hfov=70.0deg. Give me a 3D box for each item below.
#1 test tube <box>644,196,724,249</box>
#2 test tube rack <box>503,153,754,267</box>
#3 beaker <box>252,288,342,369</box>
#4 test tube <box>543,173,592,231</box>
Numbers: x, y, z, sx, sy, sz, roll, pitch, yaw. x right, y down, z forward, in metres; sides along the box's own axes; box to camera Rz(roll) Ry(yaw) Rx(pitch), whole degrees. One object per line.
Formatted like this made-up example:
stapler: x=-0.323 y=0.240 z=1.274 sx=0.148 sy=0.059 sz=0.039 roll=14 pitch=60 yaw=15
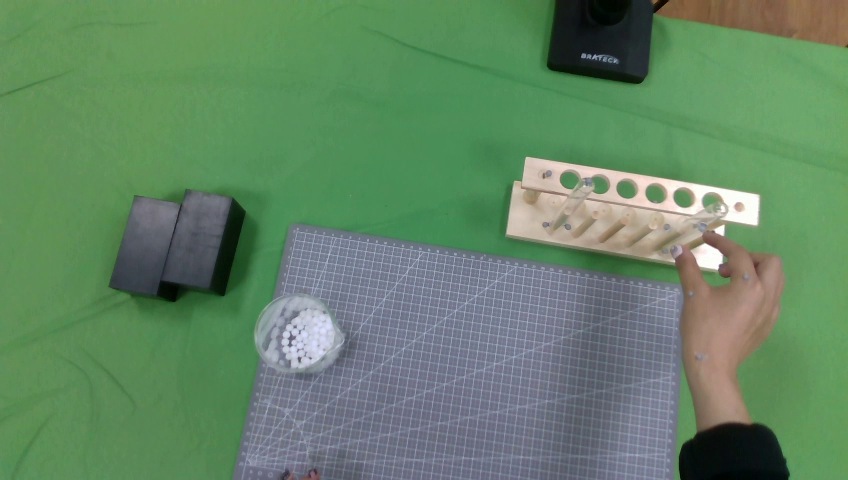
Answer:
test tube: x=0.259 y=-0.015 z=0.612 sx=0.017 sy=0.151 sz=0.017 roll=1 pitch=75 yaw=-3
test tube rack: x=0.216 y=-0.030 z=0.660 sx=0.242 sy=0.085 sz=0.066 roll=9 pitch=76 yaw=1
beaker: x=-0.119 y=0.093 z=0.610 sx=0.084 sy=0.100 sz=0.073 roll=9 pitch=76 yaw=0
test tube: x=0.143 y=-0.036 z=0.613 sx=0.017 sy=0.151 sz=0.017 roll=0 pitch=75 yaw=-1
